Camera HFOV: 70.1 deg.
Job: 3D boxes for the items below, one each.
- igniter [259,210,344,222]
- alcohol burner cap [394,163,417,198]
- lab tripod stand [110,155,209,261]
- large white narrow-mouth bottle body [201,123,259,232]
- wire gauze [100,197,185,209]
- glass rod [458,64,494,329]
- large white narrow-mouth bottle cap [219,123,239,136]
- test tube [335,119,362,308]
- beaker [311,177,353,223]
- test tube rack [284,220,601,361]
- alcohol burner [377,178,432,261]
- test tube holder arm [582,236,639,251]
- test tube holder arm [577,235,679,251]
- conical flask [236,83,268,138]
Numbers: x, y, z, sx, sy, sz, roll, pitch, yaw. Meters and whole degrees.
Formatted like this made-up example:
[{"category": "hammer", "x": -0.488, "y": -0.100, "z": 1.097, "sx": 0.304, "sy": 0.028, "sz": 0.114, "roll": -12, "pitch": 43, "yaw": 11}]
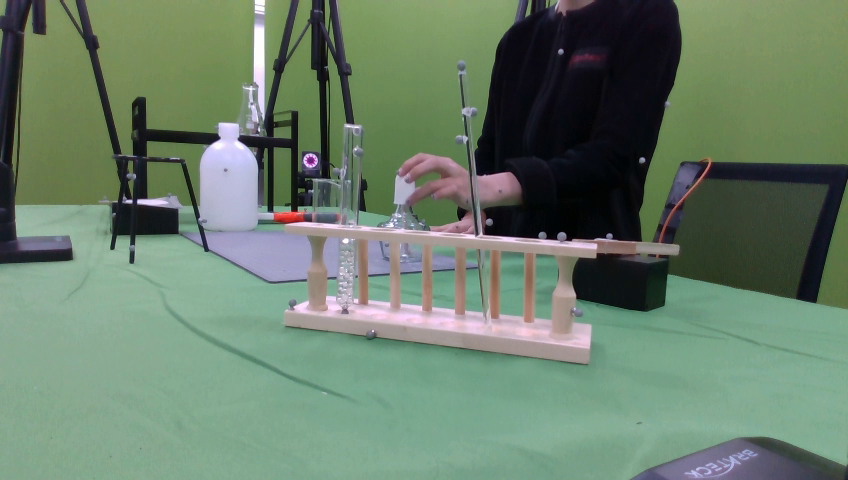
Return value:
[{"category": "igniter", "x": -0.303, "y": -0.049, "z": 1.258, "sx": 0.278, "sy": 0.025, "sz": 0.057, "roll": -2, "pitch": -2, "yaw": -28}, {"category": "alcohol burner cap", "x": -0.024, "y": -0.083, "z": 0.841, "sx": 0.034, "sy": 0.048, "sz": 0.034, "roll": 6, "pitch": 9, "yaw": -1}, {"category": "lab tripod stand", "x": -0.361, "y": -0.046, "z": 0.806, "sx": 0.148, "sy": 0.131, "sz": 0.148, "roll": 2, "pitch": 5, "yaw": 0}, {"category": "large white narrow-mouth bottle body", "x": -0.358, "y": -0.116, "z": 1.116, "sx": 0.102, "sy": 0.194, "sz": 0.102, "roll": 2, "pitch": 8, "yaw": 0}, {"category": "wire gauze", "x": -0.469, "y": -0.062, "z": 1.008, "sx": 0.126, "sy": 0.011, "sz": 0.121, "roll": -2, "pitch": 8, "yaw": -25}, {"category": "glass rod", "x": 0.039, "y": -0.029, "z": 0.449, "sx": 0.008, "sy": 0.199, "sz": 0.008, "roll": -7, "pitch": 9, "yaw": 1}, {"category": "large white narrow-mouth bottle cap", "x": -0.356, "y": -0.201, "z": 1.104, "sx": 0.038, "sy": 0.024, "sz": 0.037, "roll": 2, "pitch": 8, "yaw": 0}, {"category": "test tube", "x": -0.060, "y": -0.019, "z": 0.475, "sx": 0.017, "sy": 0.150, "sz": 0.017, "roll": 4, "pitch": 11, "yaw": 0}, {"category": "beaker", "x": -0.167, "y": -0.064, "z": 1.106, "sx": 0.074, "sy": 0.100, "sz": 0.083, "roll": -2, "pitch": 9, "yaw": -27}, {"category": "test tube rack", "x": 0.013, "y": 0.032, "z": 0.482, "sx": 0.242, "sy": 0.085, "sz": 0.067, "roll": 4, "pitch": 7, "yaw": 16}, {"category": "alcohol burner", "x": -0.027, "y": -0.031, "z": 0.838, "sx": 0.078, "sy": 0.119, "sz": 0.078, "roll": 0, "pitch": 6, "yaw": 0}, {"category": "test tube holder arm", "x": 0.194, "y": 0.004, "z": 0.629, "sx": 0.088, "sy": 0.015, "sz": 0.010, "roll": 2, "pitch": 13, "yaw": -38}, {"category": "test tube holder arm", "x": 0.227, "y": 0.004, "z": 0.661, "sx": 0.179, "sy": 0.015, "sz": 0.013, "roll": 1, "pitch": 13, "yaw": -39}, {"category": "conical flask", "x": -0.400, "y": -0.298, "z": 1.396, "sx": 0.075, "sy": 0.122, "sz": 0.075, "roll": 2, "pitch": 8, "yaw": 0}]
